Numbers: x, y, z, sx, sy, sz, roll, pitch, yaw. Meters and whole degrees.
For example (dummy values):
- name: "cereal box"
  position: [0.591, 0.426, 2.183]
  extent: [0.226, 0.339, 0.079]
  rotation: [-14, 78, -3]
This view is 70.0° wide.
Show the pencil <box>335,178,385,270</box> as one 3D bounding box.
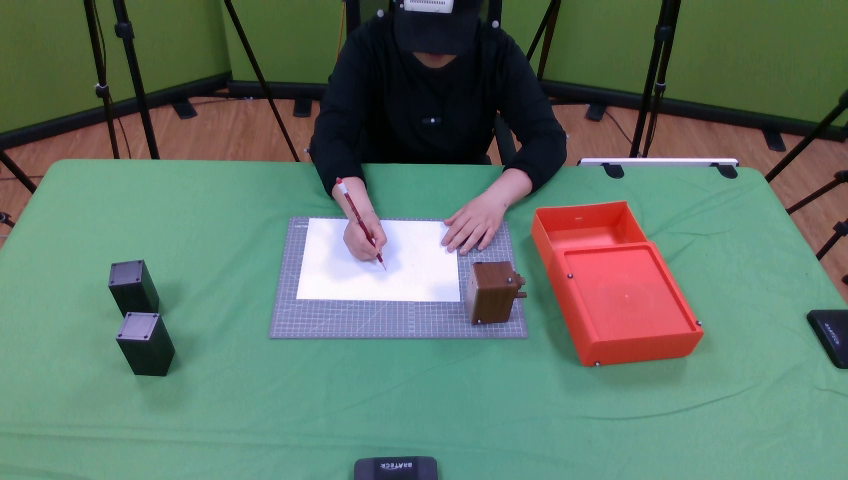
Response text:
- name: "pencil"
  position: [-0.116, -0.027, 1.120]
  extent: [0.012, 0.194, 0.012]
  rotation: [-25, 15, 7]

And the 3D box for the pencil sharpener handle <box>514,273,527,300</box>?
- name: "pencil sharpener handle"
  position: [0.169, 0.081, 1.051]
  extent: [0.031, 0.068, 0.035]
  rotation: [-3, 48, -7]

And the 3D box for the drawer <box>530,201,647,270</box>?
- name: "drawer"
  position: [0.329, 0.025, 1.159]
  extent: [0.195, 0.073, 0.210]
  rotation: [-5, 46, -9]

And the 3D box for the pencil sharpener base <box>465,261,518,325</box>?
- name: "pencil sharpener base"
  position: [0.117, 0.093, 1.053]
  extent: [0.077, 0.107, 0.061]
  rotation: [-3, 45, -7]

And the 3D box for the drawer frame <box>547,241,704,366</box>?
- name: "drawer frame"
  position: [0.348, 0.106, 1.077]
  extent: [0.202, 0.083, 0.212]
  rotation: [-4, 47, -9]
